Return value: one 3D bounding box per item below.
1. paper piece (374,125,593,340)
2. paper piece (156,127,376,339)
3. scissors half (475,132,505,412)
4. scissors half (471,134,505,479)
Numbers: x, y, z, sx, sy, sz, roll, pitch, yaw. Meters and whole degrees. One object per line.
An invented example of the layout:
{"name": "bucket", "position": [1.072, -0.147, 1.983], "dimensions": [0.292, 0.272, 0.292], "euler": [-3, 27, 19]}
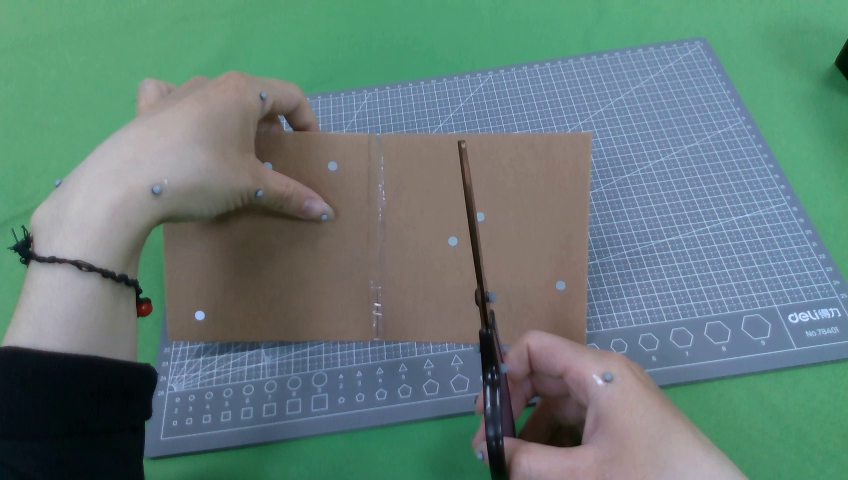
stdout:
{"name": "paper piece", "position": [0.035, -0.004, 0.381], "dimensions": [0.135, 0.004, 0.135], "euler": [2, 94, 7]}
{"name": "paper piece", "position": [-0.099, -0.003, 0.387], "dimensions": [0.138, 0.008, 0.136], "euler": [1, 93, -2]}
{"name": "scissors half", "position": [0.031, 0.031, 0.297], "dimensions": [0.013, 0.177, 0.039], "euler": [-1, 33, 10]}
{"name": "scissors half", "position": [0.029, 0.039, 0.279], "dimensions": [0.013, 0.176, 0.040], "euler": [-4, 16, 5]}
